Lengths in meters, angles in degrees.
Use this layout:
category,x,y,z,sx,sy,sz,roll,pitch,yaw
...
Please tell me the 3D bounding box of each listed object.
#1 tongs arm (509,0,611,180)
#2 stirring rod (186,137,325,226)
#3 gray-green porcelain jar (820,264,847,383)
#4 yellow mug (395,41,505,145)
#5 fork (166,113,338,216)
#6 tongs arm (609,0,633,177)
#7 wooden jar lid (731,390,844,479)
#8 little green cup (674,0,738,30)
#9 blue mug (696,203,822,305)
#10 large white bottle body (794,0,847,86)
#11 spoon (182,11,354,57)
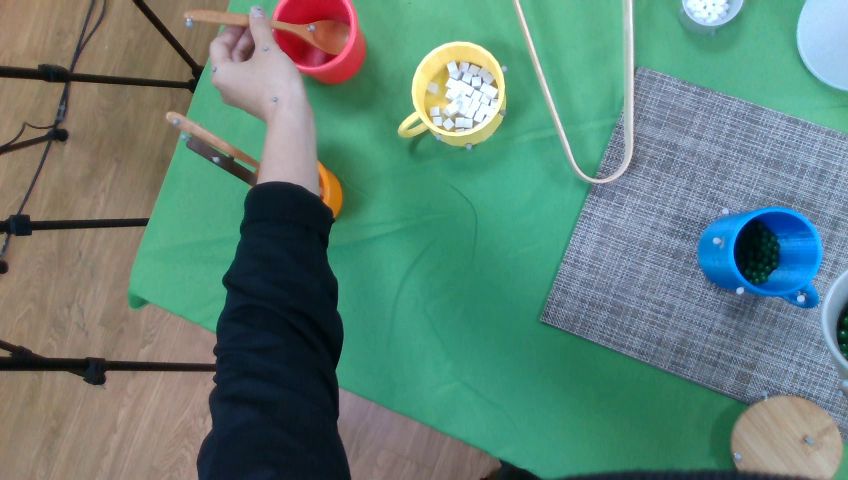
category,x,y,z,sx,sy,sz,roll,pitch,yaw
tongs arm,0.121,-0.243,0.651,0.051,0.026,0.385,-18,94,5
stirring rod,-0.178,-0.060,0.662,0.005,0.178,0.014,14,74,51
gray-green porcelain jar,0.370,0.075,0.460,0.105,0.128,0.105,-19,57,32
yellow mug,0.025,-0.152,0.671,0.131,0.064,0.100,-31,86,8
fork,-0.181,-0.080,0.659,0.209,0.018,0.028,30,94,-36
tongs arm,0.202,-0.262,0.642,0.028,0.027,0.388,-4,96,1
wooden jar lid,0.380,0.211,0.639,0.108,0.021,0.108,0,93,11
little green cup,0.297,-0.255,0.644,0.061,0.039,0.061,0,91,9
blue mug,0.338,0.020,0.600,0.082,0.106,0.116,-44,84,6
large white bottle body,0.440,-0.226,0.548,0.130,0.185,0.130,0,89,9
spoon,-0.160,-0.227,0.649,0.021,0.195,0.041,-7,89,47
